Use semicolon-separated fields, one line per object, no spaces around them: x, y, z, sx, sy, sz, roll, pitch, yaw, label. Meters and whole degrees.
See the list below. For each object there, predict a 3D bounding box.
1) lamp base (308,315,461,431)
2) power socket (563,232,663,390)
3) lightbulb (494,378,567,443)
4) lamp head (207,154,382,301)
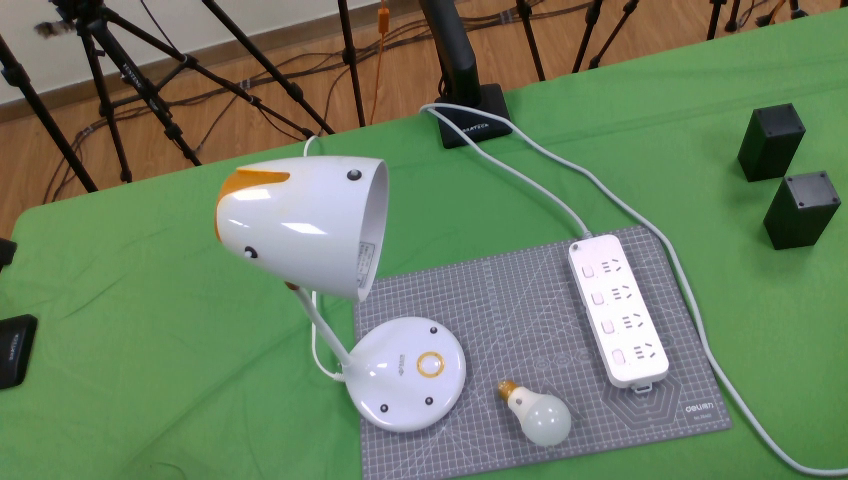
-0.057;0.137;0.746;0.179;0.182;0.159;-15;56;7;lamp base
0.245;0.085;0.799;0.072;0.033;0.224;-13;56;3;power socket
0.126;0.204;0.743;0.059;0.060;0.106;-44;44;-15;lightbulb
-0.098;-0.013;0.467;0.123;0.113;0.111;5;60;8;lamp head
